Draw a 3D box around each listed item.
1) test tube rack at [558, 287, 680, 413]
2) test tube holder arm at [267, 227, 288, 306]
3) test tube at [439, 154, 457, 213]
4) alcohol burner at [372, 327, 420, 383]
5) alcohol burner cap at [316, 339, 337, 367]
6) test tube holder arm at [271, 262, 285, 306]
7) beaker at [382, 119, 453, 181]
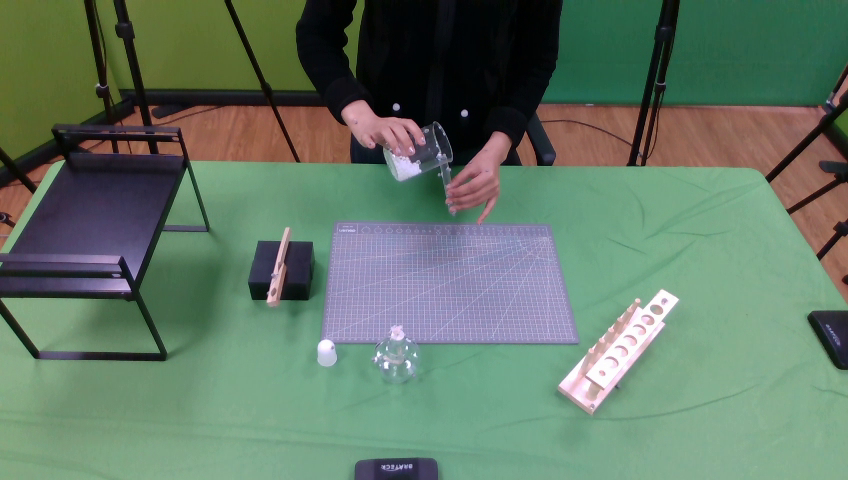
[{"bbox_3d":[0.326,0.170,1.009,0.066,0.085,0.242,36,54,26],"label":"test tube rack"},{"bbox_3d":[-0.258,0.043,1.071,0.013,0.015,0.177,-6,46,2],"label":"test tube holder arm"},{"bbox_3d":[0.045,-0.099,1.110,0.017,0.151,0.017,-5,52,7],"label":"test tube"},{"bbox_3d":[-0.044,0.175,0.961,0.078,0.120,0.077,1,47,-1],"label":"alcohol burner"},{"bbox_3d":[-0.161,0.182,0.995,0.034,0.048,0.033,2,47,-1],"label":"alcohol burner cap"},{"bbox_3d":[-0.250,0.075,1.039,0.010,0.015,0.087,-6,46,3],"label":"test tube holder arm"},{"bbox_3d":[-0.013,-0.146,1.011,0.100,0.084,0.073,-25,58,-10],"label":"beaker"}]
